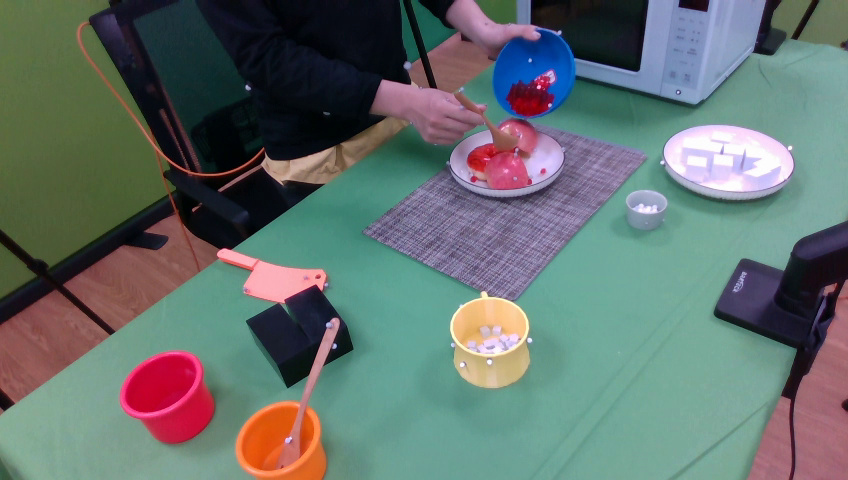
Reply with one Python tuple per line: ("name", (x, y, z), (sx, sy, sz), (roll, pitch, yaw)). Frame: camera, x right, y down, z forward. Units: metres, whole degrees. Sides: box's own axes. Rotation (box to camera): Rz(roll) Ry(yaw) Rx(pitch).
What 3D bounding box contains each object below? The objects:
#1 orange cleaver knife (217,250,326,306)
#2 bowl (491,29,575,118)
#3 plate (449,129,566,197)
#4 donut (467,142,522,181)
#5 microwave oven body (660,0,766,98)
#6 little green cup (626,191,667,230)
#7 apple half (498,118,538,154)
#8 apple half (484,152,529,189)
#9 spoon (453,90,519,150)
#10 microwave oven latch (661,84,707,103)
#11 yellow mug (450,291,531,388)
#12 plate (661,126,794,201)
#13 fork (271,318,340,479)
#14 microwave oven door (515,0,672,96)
("orange cleaver knife", (-0.248, 0.058, 0.945), (0.210, 0.012, 0.077), (13, 49, 20))
("bowl", (0.203, -0.286, 1.068), (0.150, 0.151, 0.077), (22, 14, 30))
("plate", (0.150, -0.138, 1.097), (0.209, 0.038, 0.208), (-4, 40, 4))
("donut", (0.127, -0.144, 1.091), (0.099, 0.048, 0.098), (-6, 38, 6))
("microwave oven body", (0.472, -0.513, 1.317), (0.438, 0.261, 0.327), (26, 51, 34))
("little green cup", (0.352, -0.046, 0.963), (0.061, 0.039, 0.061), (-4, 40, 4))
("apple half", (0.176, -0.197, 1.114), (0.080, 0.053, 0.075), (29, 12, 34))
("apple half", (0.144, -0.117, 1.032), (0.081, 0.033, 0.081), (3, 77, -11))
("spoon", (0.097, -0.187, 0.956), (0.041, 0.195, 0.021), (-23, 58, 28))
("microwave oven latch", (0.517, -0.296, 1.204), (0.078, 0.029, 0.030), (27, 52, 34))
("yellow mug", (0.085, 0.120, 0.786), (0.100, 0.064, 0.130), (-7, 39, 1))
("plate", (0.513, -0.128, 1.035), (0.207, 0.039, 0.206), (-4, 40, 4))
("fork", (-0.132, 0.186, 0.676), (0.028, 0.019, 0.207), (18, 90, 28))
("microwave oven door", (0.344, -0.455, 1.260), (0.353, 0.245, 0.039), (26, 51, 33))
